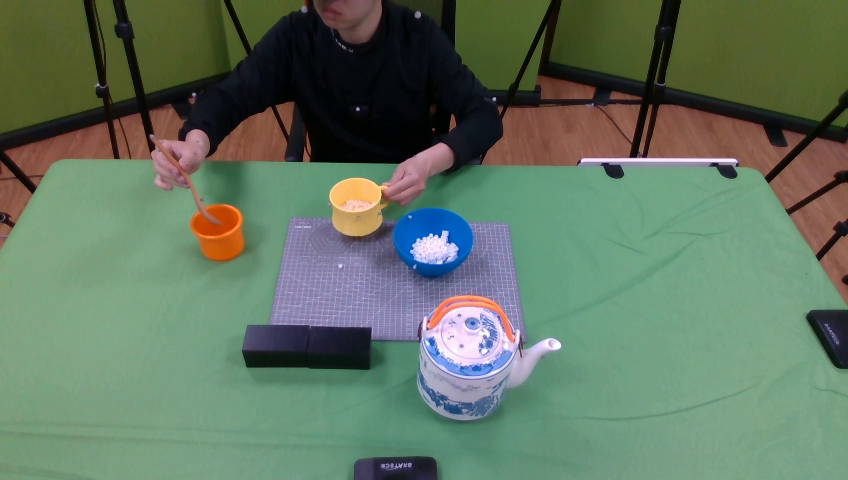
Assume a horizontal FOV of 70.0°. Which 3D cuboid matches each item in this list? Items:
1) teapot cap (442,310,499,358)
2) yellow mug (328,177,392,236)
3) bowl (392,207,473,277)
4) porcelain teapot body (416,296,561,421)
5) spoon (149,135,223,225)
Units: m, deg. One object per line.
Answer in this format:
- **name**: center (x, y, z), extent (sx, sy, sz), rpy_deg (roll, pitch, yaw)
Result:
- **teapot cap**: center (0.068, 0.133, 0.880), extent (0.085, 0.044, 0.084), rpy_deg (4, 45, -4)
- **yellow mug**: center (-0.120, -0.071, 1.177), extent (0.131, 0.064, 0.099), rpy_deg (-23, 51, -24)
- **bowl**: center (0.014, 0.016, 1.140), extent (0.151, 0.077, 0.150), rpy_deg (2, 46, -2)
- **porcelain teapot body**: center (0.094, 0.164, 0.907), extent (0.205, 0.226, 0.144), rpy_deg (6, 45, 1)
- **spoon**: center (-0.413, -0.101, 1.057), extent (0.021, 0.194, 0.041), rpy_deg (-32, 27, -12)
